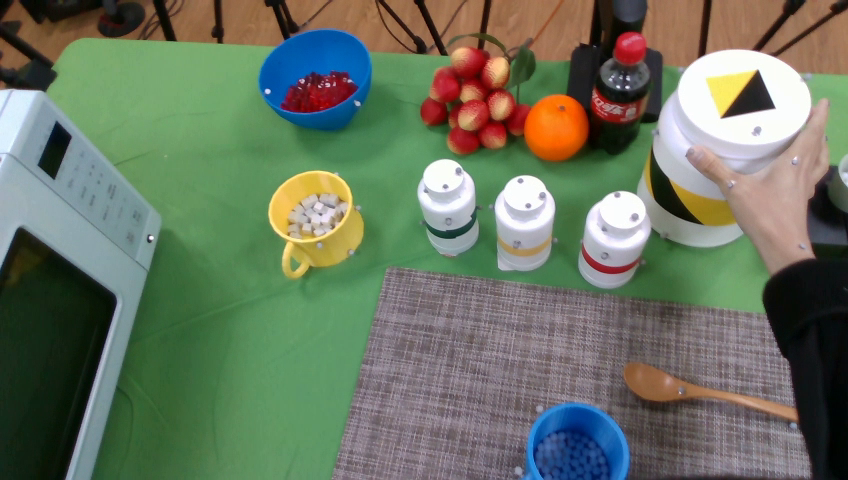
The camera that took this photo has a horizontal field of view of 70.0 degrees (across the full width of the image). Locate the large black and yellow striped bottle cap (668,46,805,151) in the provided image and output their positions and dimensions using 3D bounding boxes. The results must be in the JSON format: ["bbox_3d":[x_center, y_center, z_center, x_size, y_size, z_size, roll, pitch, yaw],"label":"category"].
[{"bbox_3d":[0.288,-0.133,0.560,0.115,0.019,0.114,-4,60,7],"label":"large black and yellow striped bottle cap"}]

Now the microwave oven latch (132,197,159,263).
[{"bbox_3d":[-0.351,-0.012,0.744,0.030,0.030,0.078,0,63,7],"label":"microwave oven latch"}]

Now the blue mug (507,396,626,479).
[{"bbox_3d":[0.117,0.202,0.542,0.116,0.107,0.081,-27,61,-6],"label":"blue mug"}]

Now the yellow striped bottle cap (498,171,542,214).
[{"bbox_3d":[0.098,-0.049,0.615,0.044,0.019,0.044,-1,59,2],"label":"yellow striped bottle cap"}]

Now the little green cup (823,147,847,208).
[{"bbox_3d":[0.447,-0.063,0.622,0.061,0.039,0.061,-2,60,4],"label":"little green cup"}]

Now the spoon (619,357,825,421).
[{"bbox_3d":[0.289,0.150,0.593,0.193,0.022,0.041,10,42,13],"label":"spoon"}]

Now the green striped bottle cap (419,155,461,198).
[{"bbox_3d":[0.017,-0.067,0.637,0.044,0.020,0.044,-3,59,6],"label":"green striped bottle cap"}]

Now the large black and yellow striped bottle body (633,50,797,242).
[{"bbox_3d":[0.300,-0.094,0.634,0.130,0.185,0.129,-3,61,7],"label":"large black and yellow striped bottle body"}]

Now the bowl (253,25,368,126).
[{"bbox_3d":[-0.143,-0.208,0.818,0.151,0.077,0.150,-3,62,6],"label":"bowl"}]

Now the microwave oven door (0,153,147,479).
[{"bbox_3d":[-0.373,0.133,0.553,0.039,0.246,0.353,-2,62,8],"label":"microwave oven door"}]

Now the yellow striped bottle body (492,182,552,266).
[{"bbox_3d":[0.106,-0.024,0.660,0.063,0.121,0.062,-4,61,7],"label":"yellow striped bottle body"}]

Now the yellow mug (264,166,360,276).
[{"bbox_3d":[-0.138,-0.017,0.722,0.099,0.064,0.130,16,66,16],"label":"yellow mug"}]

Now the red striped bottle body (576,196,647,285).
[{"bbox_3d":[0.196,-0.005,0.638,0.063,0.121,0.062,-4,61,7],"label":"red striped bottle body"}]

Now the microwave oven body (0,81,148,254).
[{"bbox_3d":[-0.516,0.103,0.595,0.326,0.262,0.438,-2,62,7],"label":"microwave oven body"}]

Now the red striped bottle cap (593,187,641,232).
[{"bbox_3d":[0.189,-0.030,0.592,0.044,0.018,0.044,-1,61,3],"label":"red striped bottle cap"}]

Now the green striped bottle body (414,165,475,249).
[{"bbox_3d":[0.024,-0.043,0.682,0.063,0.120,0.062,-3,61,6],"label":"green striped bottle body"}]
